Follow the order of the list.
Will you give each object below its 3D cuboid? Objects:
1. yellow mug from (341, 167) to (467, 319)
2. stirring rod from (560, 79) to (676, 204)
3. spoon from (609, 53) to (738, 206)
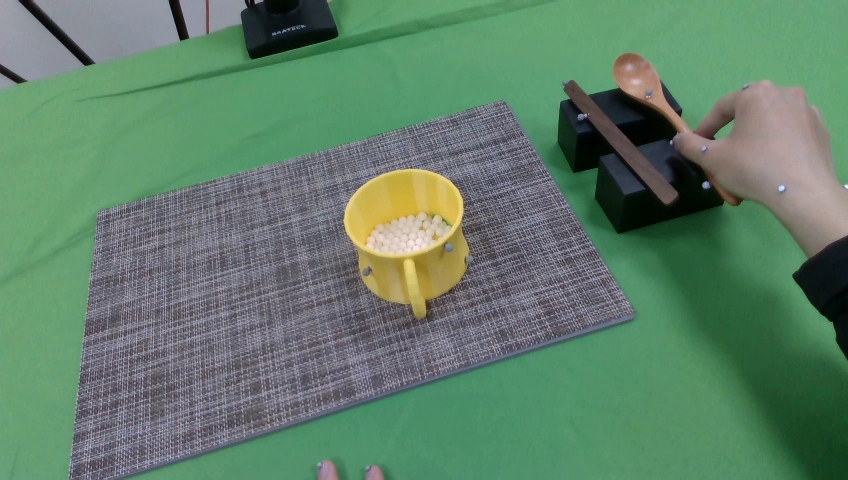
[{"bbox_3d":[-0.013,0.006,0.508,0.100,0.064,0.129,-10,51,1],"label":"yellow mug"},{"bbox_3d":[0.167,-0.093,0.536,0.014,0.006,0.174,-44,48,21],"label":"stirring rod"},{"bbox_3d":[0.218,-0.103,0.534,0.042,0.022,0.191,-13,51,-10],"label":"spoon"}]
